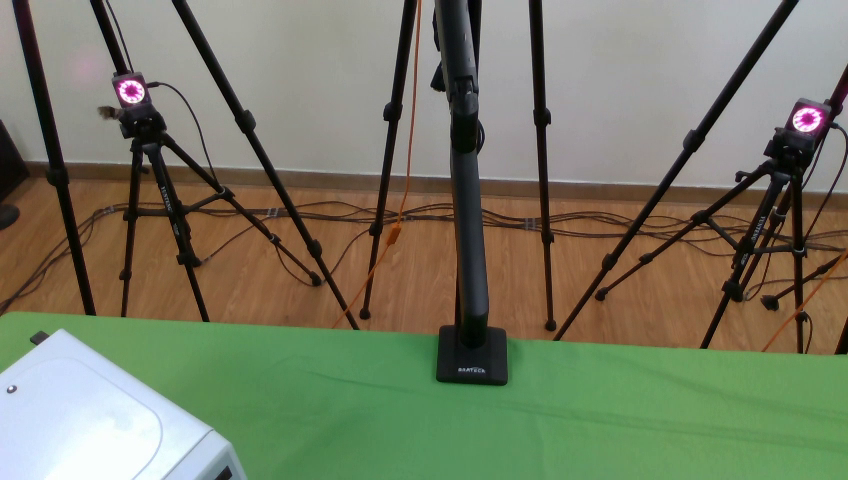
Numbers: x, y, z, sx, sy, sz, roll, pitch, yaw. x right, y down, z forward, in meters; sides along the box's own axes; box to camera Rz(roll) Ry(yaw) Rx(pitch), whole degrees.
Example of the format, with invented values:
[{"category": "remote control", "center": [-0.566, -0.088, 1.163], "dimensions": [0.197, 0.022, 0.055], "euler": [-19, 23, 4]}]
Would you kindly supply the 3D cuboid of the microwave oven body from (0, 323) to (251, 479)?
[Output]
[{"category": "microwave oven body", "center": [-0.460, 0.368, 0.676], "dimensions": [0.324, 0.262, 0.440], "euler": [24, 49, 22]}]
